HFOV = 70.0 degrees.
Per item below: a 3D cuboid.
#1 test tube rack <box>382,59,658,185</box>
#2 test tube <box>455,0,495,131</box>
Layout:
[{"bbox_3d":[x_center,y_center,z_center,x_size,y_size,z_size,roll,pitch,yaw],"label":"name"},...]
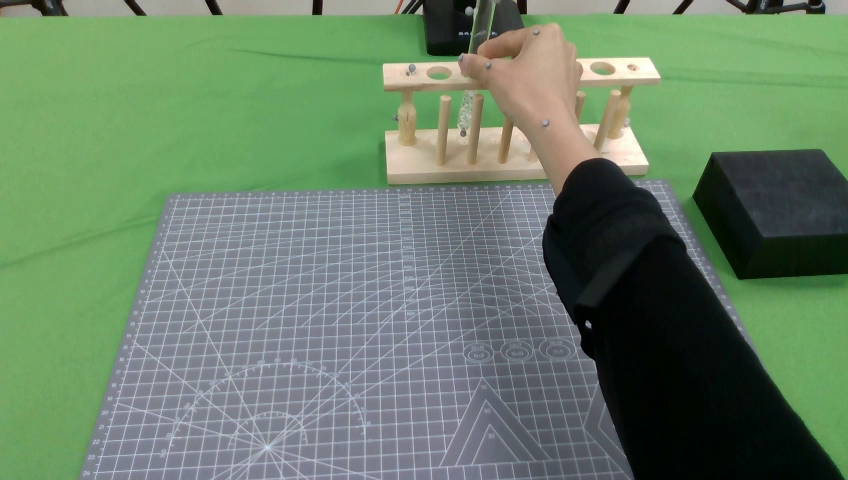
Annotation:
[{"bbox_3d":[0.084,-0.108,0.553,0.243,0.086,0.066,-2,47,-4],"label":"test tube rack"},{"bbox_3d":[0.043,-0.155,0.515,0.017,0.151,0.017,4,47,-4],"label":"test tube"}]
